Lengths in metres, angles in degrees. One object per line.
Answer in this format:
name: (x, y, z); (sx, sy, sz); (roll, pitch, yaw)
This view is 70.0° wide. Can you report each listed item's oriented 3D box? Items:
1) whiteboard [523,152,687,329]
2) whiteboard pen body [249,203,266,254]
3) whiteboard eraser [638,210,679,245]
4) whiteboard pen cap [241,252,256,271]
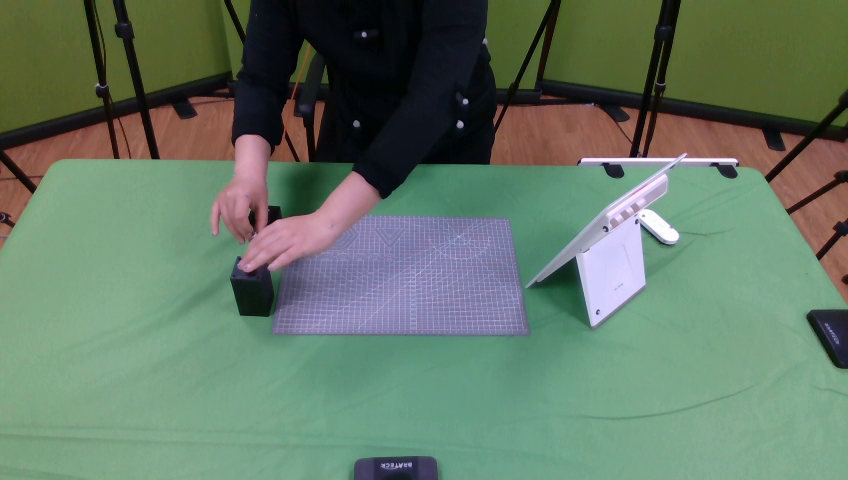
whiteboard: (0.346, 0.025, 1.046); (0.217, 0.306, 0.143); (-30, 74, -29)
whiteboard pen body: (-0.291, -0.014, 1.057); (0.017, 0.017, 0.139); (0, 47, -4)
whiteboard eraser: (0.485, -0.027, 1.260); (0.041, 0.019, 0.100); (-20, 50, -22)
whiteboard pen cap: (-0.290, 0.035, 1.005); (0.017, 0.017, 0.032); (6, 42, 1)
